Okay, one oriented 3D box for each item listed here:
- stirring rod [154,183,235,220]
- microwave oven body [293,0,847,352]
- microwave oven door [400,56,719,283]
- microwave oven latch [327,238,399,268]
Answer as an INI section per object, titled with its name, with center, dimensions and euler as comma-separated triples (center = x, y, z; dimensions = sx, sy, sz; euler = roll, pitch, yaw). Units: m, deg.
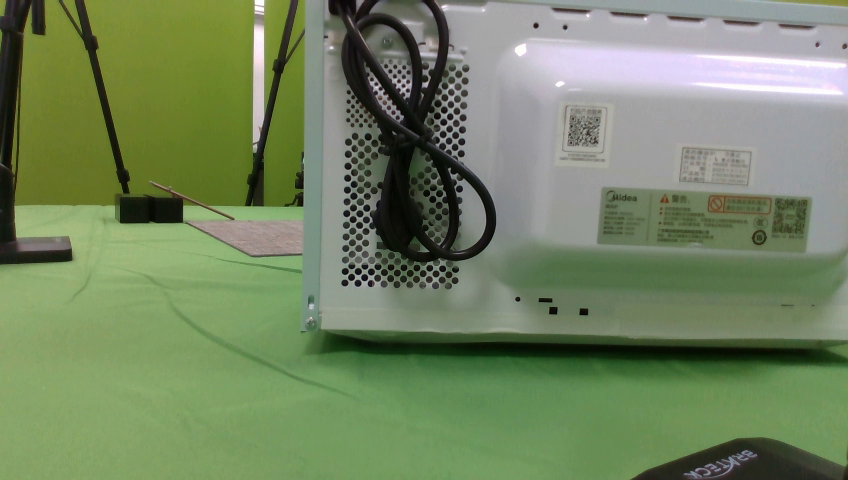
[stirring rod]
center = -0.472, -0.079, 1.252
dimensions = 0.177, 0.006, 0.014
euler = 27, 4, -35
[microwave oven body]
center = 0.122, -0.055, 0.550
dimensions = 0.442, 0.260, 0.325
euler = 3, 7, -5
[microwave oven door]
center = 0.155, -0.077, 0.697
dimensions = 0.356, 0.243, 0.039
euler = 2, 8, -5
[microwave oven latch]
center = -0.069, 0.015, 0.694
dimensions = 0.079, 0.029, 0.030
euler = 3, 7, -3
